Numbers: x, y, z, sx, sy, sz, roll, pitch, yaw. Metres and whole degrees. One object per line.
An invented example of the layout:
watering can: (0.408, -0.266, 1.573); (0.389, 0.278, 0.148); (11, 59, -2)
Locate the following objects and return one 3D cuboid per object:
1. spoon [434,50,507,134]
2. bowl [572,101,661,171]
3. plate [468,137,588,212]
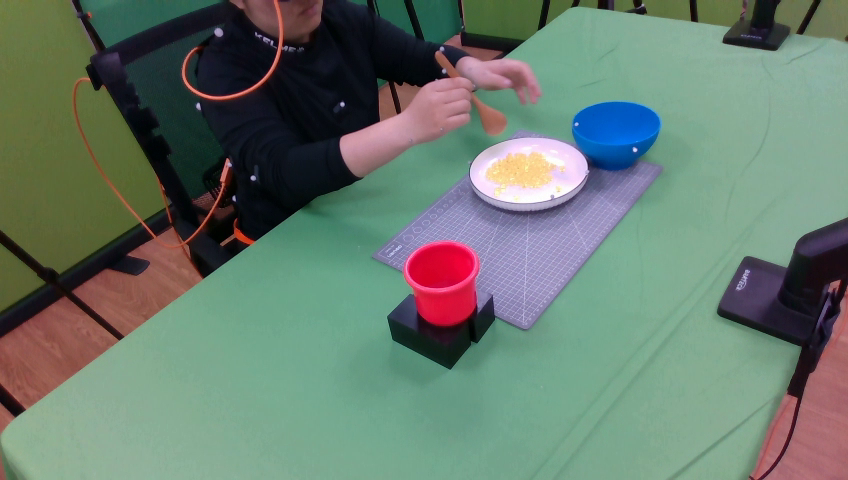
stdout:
spoon: (0.072, -0.229, 0.947); (0.041, 0.195, 0.021); (-39, 39, 15)
bowl: (0.339, -0.177, 1.079); (0.151, 0.077, 0.150); (-5, 40, 5)
plate: (0.181, -0.112, 1.064); (0.207, 0.039, 0.206); (-5, 40, 5)
